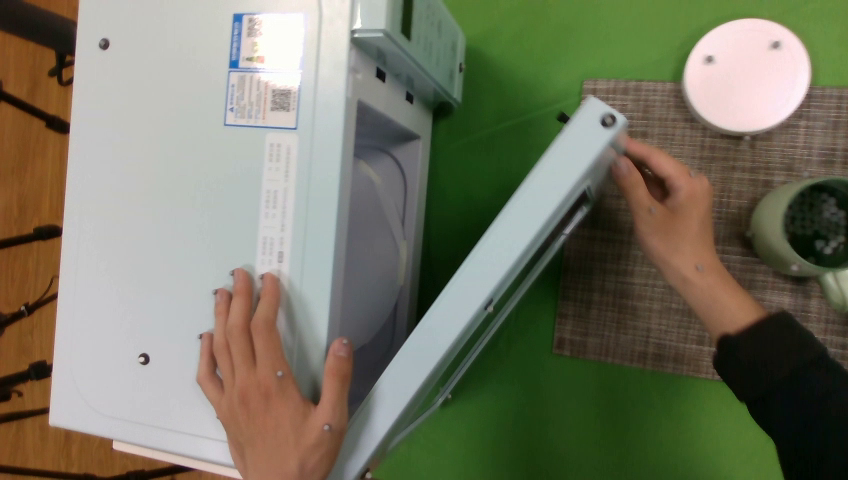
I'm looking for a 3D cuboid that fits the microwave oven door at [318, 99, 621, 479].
[{"bbox_3d":[0.057,0.051,0.552,0.039,0.245,0.356,37,100,15],"label":"microwave oven door"}]

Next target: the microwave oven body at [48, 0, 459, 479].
[{"bbox_3d":[-0.158,-0.035,0.622,0.325,0.261,0.441,5,92,16],"label":"microwave oven body"}]

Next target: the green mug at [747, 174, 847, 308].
[{"bbox_3d":[0.357,0.001,0.546,0.092,0.105,0.125,-22,83,15],"label":"green mug"}]

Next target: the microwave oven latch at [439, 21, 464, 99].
[{"bbox_3d":[0.027,-0.197,0.667,0.030,0.029,0.079,6,92,16],"label":"microwave oven latch"}]

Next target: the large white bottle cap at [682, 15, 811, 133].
[{"bbox_3d":[0.319,-0.165,0.603,0.114,0.018,0.114,0,89,16],"label":"large white bottle cap"}]
